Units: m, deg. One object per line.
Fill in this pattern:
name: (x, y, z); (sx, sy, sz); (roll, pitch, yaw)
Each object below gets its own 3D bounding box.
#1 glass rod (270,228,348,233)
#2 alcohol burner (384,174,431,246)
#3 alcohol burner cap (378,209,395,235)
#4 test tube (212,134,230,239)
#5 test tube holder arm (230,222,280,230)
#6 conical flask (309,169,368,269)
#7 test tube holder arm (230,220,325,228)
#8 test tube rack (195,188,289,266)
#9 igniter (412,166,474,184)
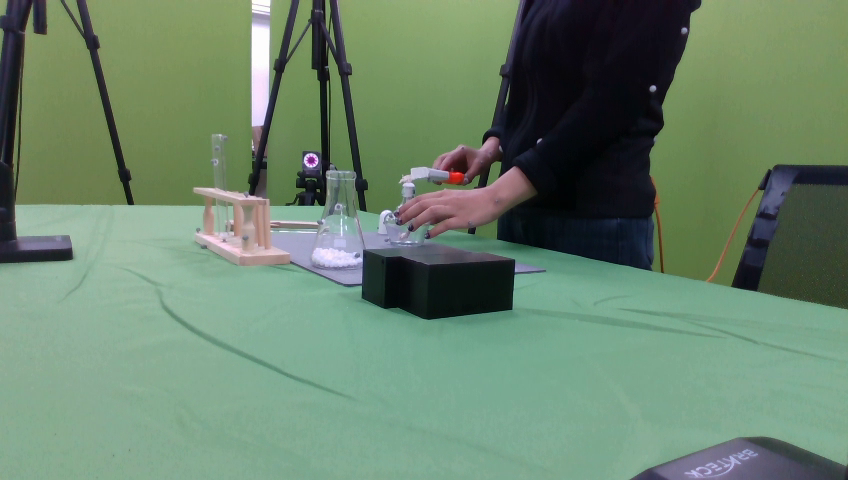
glass rod: (-0.234, -0.017, 1.104); (0.201, 0.008, 0.008); (1, 7, -26)
alcohol burner: (-0.026, -0.049, 0.994); (0.078, 0.119, 0.078); (2, 9, 0)
alcohol burner cap: (-0.070, -0.035, 1.144); (0.034, 0.048, 0.034); (2, 8, 0)
test tube: (-0.290, -0.076, 0.863); (0.017, 0.150, 0.017); (-2, 6, 0)
test tube holder arm: (-0.312, -0.025, 1.118); (0.088, 0.015, 0.010); (-1, 42, -30)
conical flask: (-0.107, -0.028, 0.762); (0.075, 0.122, 0.075); (2, 7, 0)
test tube holder arm: (-0.275, -0.029, 1.144); (0.179, 0.015, 0.013); (-1, 43, -30)
test tube rack: (-0.266, -0.025, 0.864); (0.067, 0.085, 0.241); (-2, 8, -33)
igniter: (0.040, -0.122, 1.133); (0.057, 0.025, 0.277); (-1, 3, 20)
